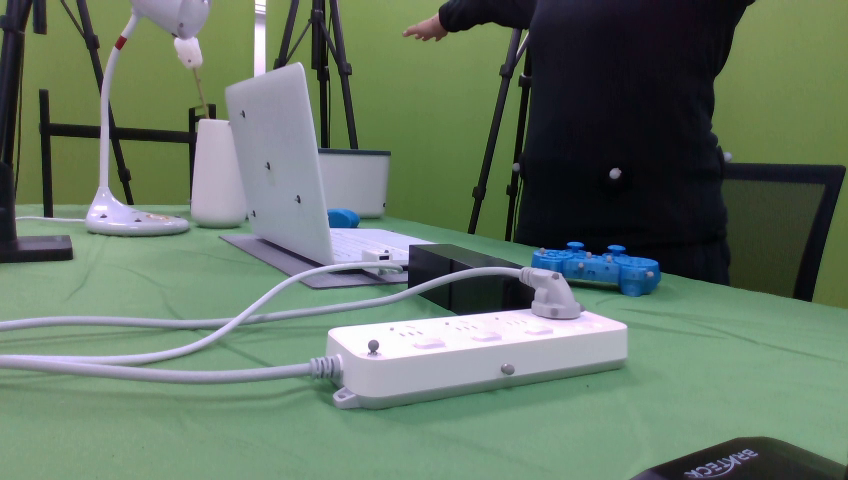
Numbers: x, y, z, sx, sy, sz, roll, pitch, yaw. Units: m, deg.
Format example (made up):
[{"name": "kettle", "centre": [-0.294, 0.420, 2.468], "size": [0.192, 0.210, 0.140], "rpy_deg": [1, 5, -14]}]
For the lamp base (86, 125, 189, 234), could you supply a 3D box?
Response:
[{"name": "lamp base", "centre": [-0.497, -0.105, 1.027], "size": [0.179, 0.180, 0.160], "rpy_deg": [1, 7, 2]}]

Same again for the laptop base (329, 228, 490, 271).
[{"name": "laptop base", "centre": [-0.095, 0.011, 0.912], "size": [0.237, 0.023, 0.352], "rpy_deg": [2, 7, -32]}]

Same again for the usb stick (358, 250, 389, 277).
[{"name": "usb stick", "centre": [-0.062, 0.026, 0.708], "size": [0.021, 0.027, 0.059], "rpy_deg": [-4, 5, -28]}]

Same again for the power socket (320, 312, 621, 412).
[{"name": "power socket", "centre": [0.038, 0.075, 0.409], "size": [0.228, 0.032, 0.072], "rpy_deg": [-2, 8, -29]}]

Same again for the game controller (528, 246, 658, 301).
[{"name": "game controller", "centre": [0.202, 0.036, 0.733], "size": [0.155, 0.051, 0.097], "rpy_deg": [5, 10, 19]}]

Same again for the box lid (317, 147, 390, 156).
[{"name": "box lid", "centre": [-0.295, -0.217, 1.463], "size": [0.373, 0.015, 0.262], "rpy_deg": [-1, 8, -29]}]

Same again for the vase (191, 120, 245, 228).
[{"name": "vase", "centre": [-0.389, -0.124, 1.142], "size": [0.098, 0.200, 0.098], "rpy_deg": [3, 9, 0]}]

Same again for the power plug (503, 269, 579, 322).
[{"name": "power plug", "centre": [0.091, 0.051, 0.469], "size": [0.035, 0.052, 0.072], "rpy_deg": [0, 6, -18]}]

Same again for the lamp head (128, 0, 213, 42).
[{"name": "lamp head", "centre": [-0.423, -0.394, 0.980], "size": [0.123, 0.112, 0.112], "rpy_deg": [20, 7, -3]}]

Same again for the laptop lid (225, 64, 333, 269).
[{"name": "laptop lid", "centre": [-0.209, -0.101, 0.824], "size": [0.013, 0.241, 0.355], "rpy_deg": [-14, 16, -29]}]

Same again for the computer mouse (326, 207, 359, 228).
[{"name": "computer mouse", "centre": [-0.194, -0.046, 1.241], "size": [0.117, 0.041, 0.063], "rpy_deg": [0, 9, 12]}]

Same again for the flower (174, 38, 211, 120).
[{"name": "flower", "centre": [-0.401, -0.207, 1.141], "size": [0.038, 0.361, 0.044], "rpy_deg": [-14, 3, 44]}]

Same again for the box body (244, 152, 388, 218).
[{"name": "box body", "centre": [-0.297, -0.144, 1.475], "size": [0.366, 0.160, 0.253], "rpy_deg": [-1, 9, -30]}]
